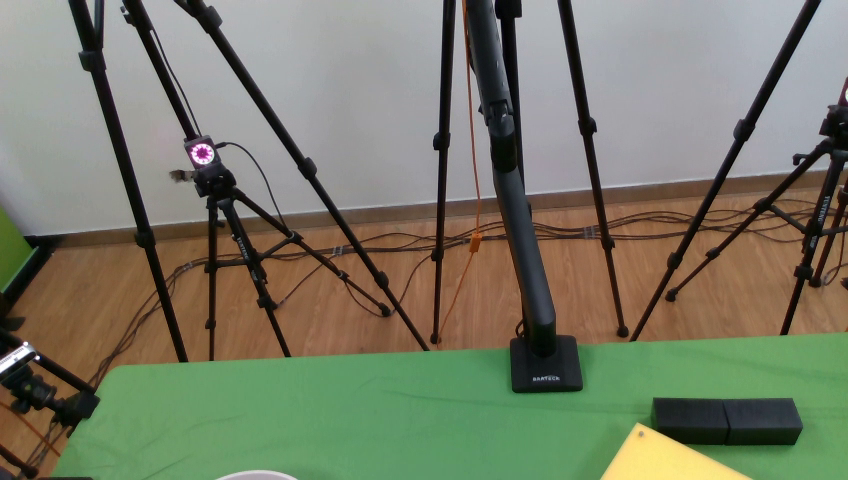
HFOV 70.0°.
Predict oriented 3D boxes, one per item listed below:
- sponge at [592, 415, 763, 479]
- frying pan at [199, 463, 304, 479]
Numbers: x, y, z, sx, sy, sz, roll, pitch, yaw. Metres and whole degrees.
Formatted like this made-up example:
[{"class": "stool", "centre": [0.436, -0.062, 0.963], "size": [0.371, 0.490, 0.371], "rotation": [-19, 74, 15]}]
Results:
[{"class": "sponge", "centre": [0.356, 0.348, 0.845], "size": [0.205, 0.061, 0.118], "rotation": [22, 49, 34]}, {"class": "frying pan", "centre": [-0.264, 0.519, 0.762], "size": [0.307, 0.103, 0.483], "rotation": [-9, 33, 4]}]
